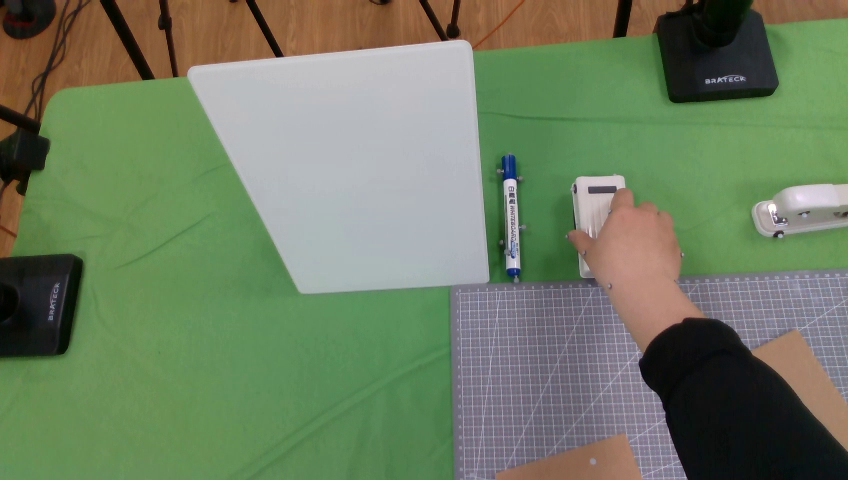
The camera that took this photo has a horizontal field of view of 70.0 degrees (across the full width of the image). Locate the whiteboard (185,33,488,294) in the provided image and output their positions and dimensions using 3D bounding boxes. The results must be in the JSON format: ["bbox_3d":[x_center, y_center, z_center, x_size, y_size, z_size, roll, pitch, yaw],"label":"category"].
[{"bbox_3d":[-0.053,-0.095,0.601,0.217,0.308,0.142,-3,51,7],"label":"whiteboard"}]

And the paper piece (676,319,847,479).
[{"bbox_3d":[0.339,0.167,0.585,0.136,0.009,0.137,-26,72,2],"label":"paper piece"}]

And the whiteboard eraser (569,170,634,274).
[{"bbox_3d":[0.190,-0.020,0.653,0.055,0.042,0.112,-2,71,4],"label":"whiteboard eraser"}]

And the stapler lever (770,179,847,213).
[{"bbox_3d":[0.417,-0.048,0.619,0.118,0.040,0.026,-8,72,4],"label":"stapler lever"}]

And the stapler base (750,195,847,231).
[{"bbox_3d":[0.418,-0.039,0.641,0.130,0.024,0.041,-8,73,2],"label":"stapler base"}]

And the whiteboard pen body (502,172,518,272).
[{"bbox_3d":[0.096,-0.032,0.682,0.017,0.017,0.140,-1,70,7],"label":"whiteboard pen body"}]

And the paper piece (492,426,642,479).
[{"bbox_3d":[0.149,0.262,0.575,0.135,0.004,0.134,-17,71,0],"label":"paper piece"}]

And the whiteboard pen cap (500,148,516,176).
[{"bbox_3d":[0.098,-0.088,0.700,0.018,0.018,0.033,-5,68,6],"label":"whiteboard pen cap"}]
